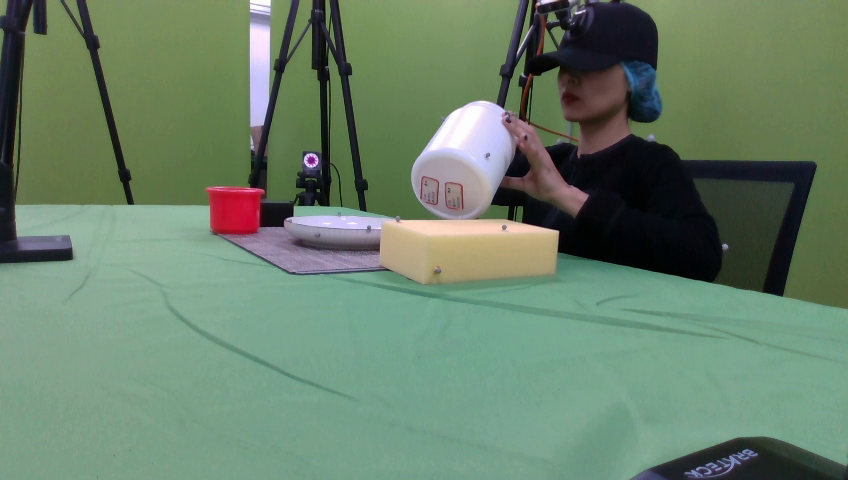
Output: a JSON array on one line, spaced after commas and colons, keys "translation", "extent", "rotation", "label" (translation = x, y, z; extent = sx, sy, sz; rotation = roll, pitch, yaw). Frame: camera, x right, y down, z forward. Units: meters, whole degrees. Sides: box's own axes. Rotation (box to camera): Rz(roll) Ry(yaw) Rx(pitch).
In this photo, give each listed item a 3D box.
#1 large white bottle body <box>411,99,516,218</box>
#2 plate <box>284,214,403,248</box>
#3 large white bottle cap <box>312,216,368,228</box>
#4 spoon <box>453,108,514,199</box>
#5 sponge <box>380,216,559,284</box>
[{"translation": [0.071, -0.133, 0.955], "extent": [0.130, 0.131, 0.185], "rotation": [5, 40, 23], "label": "large white bottle body"}, {"translation": [-0.122, -0.015, 0.984], "extent": [0.209, 0.038, 0.209], "rotation": [2, 7, 0], "label": "plate"}, {"translation": [-0.171, -0.038, 1.234], "extent": [0.115, 0.018, 0.115], "rotation": [2, 5, 0], "label": "large white bottle cap"}, {"translation": [0.100, -0.143, 0.978], "extent": [0.041, 0.022, 0.194], "rotation": [10, 55, 41], "label": "spoon"}, {"translation": [0.059, 0.008, 0.786], "extent": [0.208, 0.061, 0.117], "rotation": [-3, 11, -32], "label": "sponge"}]
